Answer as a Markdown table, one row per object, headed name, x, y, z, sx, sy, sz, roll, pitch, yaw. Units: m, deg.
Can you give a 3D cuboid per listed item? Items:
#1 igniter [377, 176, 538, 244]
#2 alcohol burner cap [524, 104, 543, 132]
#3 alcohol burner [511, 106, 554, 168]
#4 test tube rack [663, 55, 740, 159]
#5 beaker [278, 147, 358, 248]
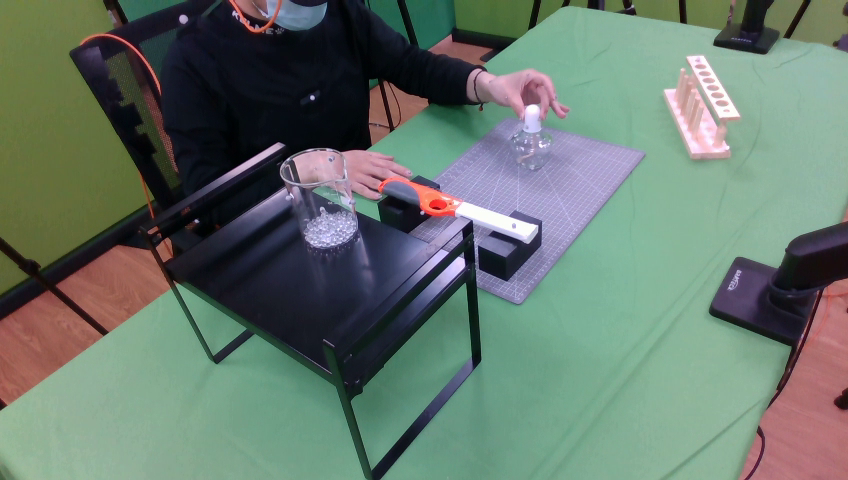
| name | x | y | z | sx | sy | sz | roll | pitch | yaw |
| --- | --- | --- | --- | --- | --- | --- | --- | --- | --- |
| igniter | 0.046 | -0.052 | 0.942 | 0.274 | 0.025 | 0.057 | 21 | 47 | 27 |
| alcohol burner cap | 0.192 | -0.216 | 1.065 | 0.034 | 0.048 | 0.033 | -5 | 34 | 4 |
| alcohol burner | 0.196 | -0.191 | 1.089 | 0.078 | 0.119 | 0.077 | -3 | 41 | 3 |
| test tube rack | 0.518 | -0.256 | 1.144 | 0.066 | 0.085 | 0.241 | -1 | 41 | 8 |
| beaker | -0.117 | -0.046 | 0.705 | 0.083 | 0.101 | 0.074 | 17 | 47 | 25 |
